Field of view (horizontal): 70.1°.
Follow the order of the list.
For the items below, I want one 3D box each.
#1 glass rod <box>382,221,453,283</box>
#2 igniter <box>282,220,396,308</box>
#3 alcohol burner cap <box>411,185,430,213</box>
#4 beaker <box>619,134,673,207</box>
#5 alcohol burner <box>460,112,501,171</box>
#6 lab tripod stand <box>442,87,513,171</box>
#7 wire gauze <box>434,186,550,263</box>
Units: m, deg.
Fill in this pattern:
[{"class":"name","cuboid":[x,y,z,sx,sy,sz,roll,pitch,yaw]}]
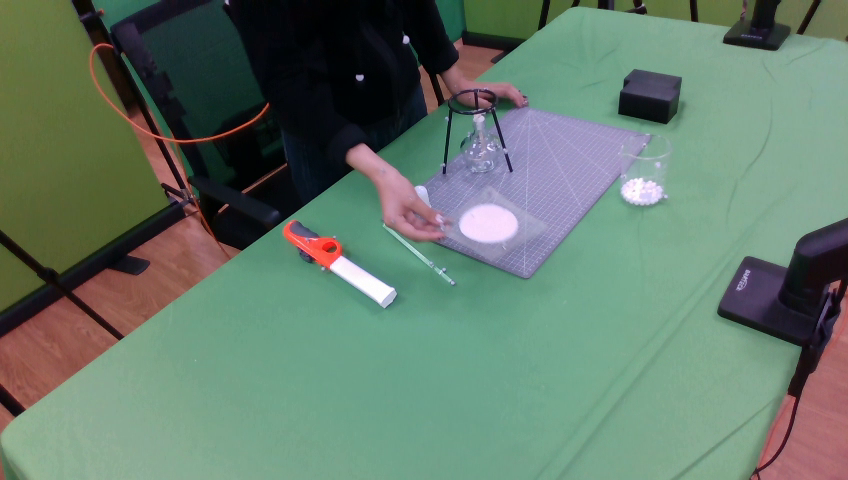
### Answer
[{"class":"glass rod","cuboid":[-0.014,0.016,0.976,0.008,0.008,0.198,-30,44,-22]},{"class":"igniter","cuboid":[-0.146,0.032,0.966,0.274,0.025,0.057,30,65,37]},{"class":"alcohol burner cap","cuboid":[-0.008,-0.073,1.050,0.034,0.048,0.033,-5,39,4]},{"class":"beaker","cuboid":[0.356,-0.111,0.986,0.084,0.101,0.073,-10,40,1]},{"class":"alcohol burner","cuboid":[0.102,-0.186,1.106,0.078,0.119,0.077,-4,42,4]},{"class":"lab tripod stand","cuboid":[0.097,-0.200,1.108,0.148,0.132,0.147,-4,40,4]},{"class":"wire gauze","cuboid":[0.099,-0.024,0.886,0.125,0.011,0.120,-33,51,-26]}]
